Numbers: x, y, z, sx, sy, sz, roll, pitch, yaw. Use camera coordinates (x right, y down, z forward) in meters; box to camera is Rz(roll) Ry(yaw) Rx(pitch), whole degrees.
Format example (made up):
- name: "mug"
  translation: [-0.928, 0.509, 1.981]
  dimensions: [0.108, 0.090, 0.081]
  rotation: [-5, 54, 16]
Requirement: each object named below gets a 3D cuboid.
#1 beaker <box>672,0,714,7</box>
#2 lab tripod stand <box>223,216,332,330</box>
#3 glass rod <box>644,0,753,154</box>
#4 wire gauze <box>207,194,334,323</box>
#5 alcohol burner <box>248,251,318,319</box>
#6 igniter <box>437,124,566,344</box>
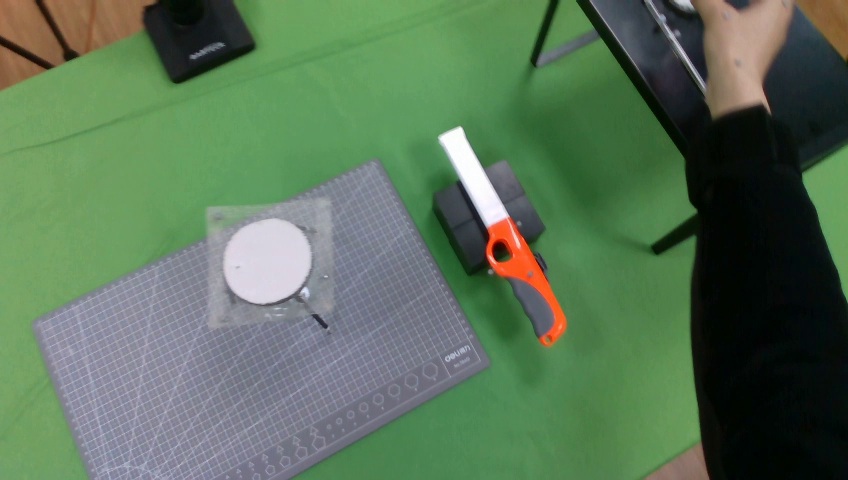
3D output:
- name: "beaker"
  translation: [0.280, -0.289, 0.597]
  dimensions: [0.084, 0.101, 0.074]
  rotation: [28, 75, 6]
- name: "lab tripod stand"
  translation: [-0.156, 0.032, 0.663]
  dimensions: [0.148, 0.132, 0.147]
  rotation: [0, 73, -1]
- name: "glass rod"
  translation: [0.275, -0.171, 0.612]
  dimensions: [0.008, 0.008, 0.198]
  rotation: [-26, 78, -8]
- name: "wire gauze"
  translation: [-0.151, 0.015, 0.598]
  dimensions: [0.121, 0.011, 0.124]
  rotation: [-5, 74, -3]
- name: "alcohol burner"
  translation: [-0.159, 0.047, 0.669]
  dimensions: [0.078, 0.119, 0.077]
  rotation: [0, 76, -1]
- name: "igniter"
  translation: [0.088, -0.011, 0.692]
  dimensions: [0.057, 0.025, 0.275]
  rotation: [-25, 76, -5]
